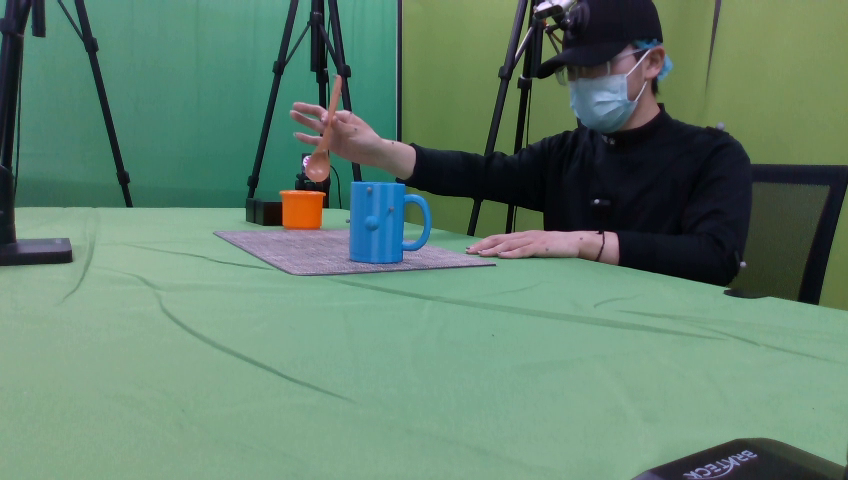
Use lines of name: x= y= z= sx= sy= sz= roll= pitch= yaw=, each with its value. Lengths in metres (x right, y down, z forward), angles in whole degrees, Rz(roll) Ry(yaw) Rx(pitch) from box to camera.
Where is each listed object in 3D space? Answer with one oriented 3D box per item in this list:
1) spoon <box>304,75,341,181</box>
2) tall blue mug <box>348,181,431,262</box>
spoon: x=-0.170 y=-0.196 z=1.053 sx=0.042 sy=0.193 sz=0.021 roll=15 pitch=-3 yaw=-12
tall blue mug: x=-0.052 y=-0.028 z=0.849 sx=0.108 sy=0.108 sz=0.077 roll=-1 pitch=7 yaw=-22
